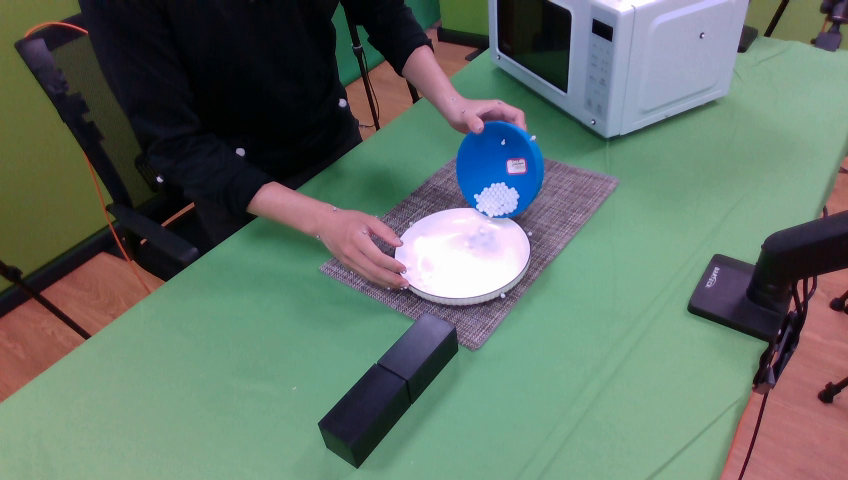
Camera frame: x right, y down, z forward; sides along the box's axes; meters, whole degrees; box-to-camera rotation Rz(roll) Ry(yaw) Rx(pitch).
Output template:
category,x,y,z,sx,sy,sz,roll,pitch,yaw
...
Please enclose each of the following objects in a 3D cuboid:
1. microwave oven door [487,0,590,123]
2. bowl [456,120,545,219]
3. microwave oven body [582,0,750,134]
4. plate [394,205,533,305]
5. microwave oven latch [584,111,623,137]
category,x,y,z,sx,sy,sz,roll,pitch,yaw
microwave oven door,0.232,-0.420,1.230,0.039,0.245,0.352,-22,43,-16
bowl,0.132,-0.114,0.947,0.150,0.151,0.077,25,28,32
microwave oven body,0.382,-0.444,1.246,0.327,0.261,0.437,-22,42,-16
plate,0.059,0.025,0.915,0.207,0.039,0.206,-4,41,4
microwave oven latch,0.337,-0.222,1.142,0.030,0.029,0.078,-21,42,-14
